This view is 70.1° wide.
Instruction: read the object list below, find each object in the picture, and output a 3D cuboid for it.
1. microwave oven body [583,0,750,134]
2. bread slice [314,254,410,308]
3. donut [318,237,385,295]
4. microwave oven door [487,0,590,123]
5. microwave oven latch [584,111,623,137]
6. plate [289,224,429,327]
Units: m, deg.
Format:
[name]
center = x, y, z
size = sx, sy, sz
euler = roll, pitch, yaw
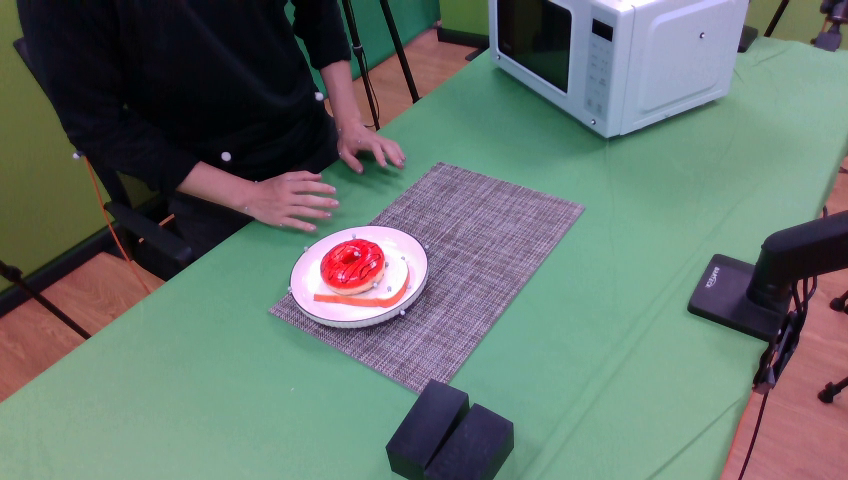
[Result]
[microwave oven body]
center = 0.382, -0.445, 1.246
size = 0.327, 0.261, 0.437
euler = -22, 42, -16
[bread slice]
center = -0.086, 0.057, 0.901
size = 0.131, 0.019, 0.104
euler = 4, 43, 15
[donut]
center = -0.105, 0.037, 0.880
size = 0.099, 0.048, 0.098
euler = -6, 42, 6
[microwave oven door]
center = 0.232, -0.420, 1.231
size = 0.039, 0.245, 0.352
euler = -22, 43, -16
[microwave oven latch]
center = 0.337, -0.222, 1.142
size = 0.030, 0.029, 0.078
euler = -21, 42, -14
[plate]
center = -0.094, 0.054, 0.902
size = 0.207, 0.039, 0.206
euler = -4, 41, 4
